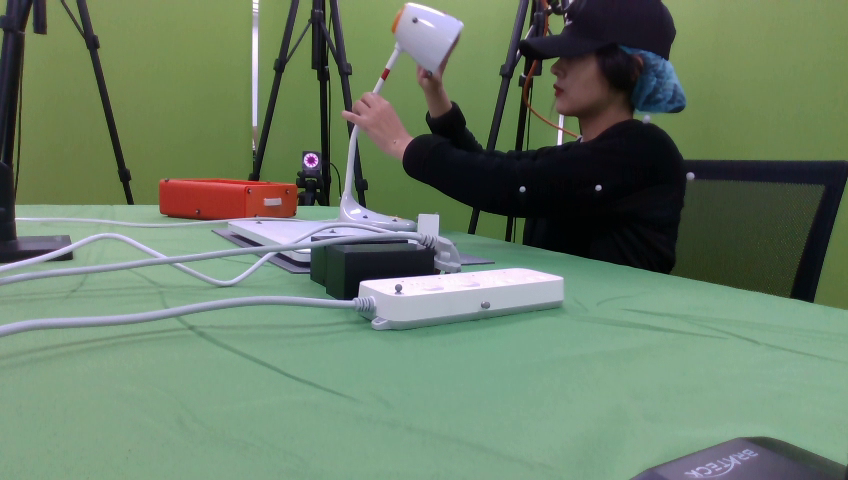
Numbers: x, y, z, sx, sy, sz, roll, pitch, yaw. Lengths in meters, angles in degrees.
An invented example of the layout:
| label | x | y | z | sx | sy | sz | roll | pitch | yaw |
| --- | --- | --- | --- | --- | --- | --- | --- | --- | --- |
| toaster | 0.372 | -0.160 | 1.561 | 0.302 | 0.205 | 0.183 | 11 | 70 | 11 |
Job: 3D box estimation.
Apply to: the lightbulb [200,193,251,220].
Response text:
| label | x | y | z | sx | sy | sz | roll | pitch | yaw |
| --- | --- | --- | --- | --- | --- | --- | --- | --- | --- |
| lightbulb | -0.433 | -0.079 | 1.319 | 0.108 | 0.059 | 0.059 | -17 | 13 | -16 |

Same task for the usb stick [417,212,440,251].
| label | x | y | z | sx | sy | sz | roll | pitch | yaw |
| --- | --- | --- | --- | --- | --- | --- | --- | --- | --- |
| usb stick | 0.005 | -0.003 | 0.722 | 0.027 | 0.059 | 0.021 | 0 | -3 | -3 |

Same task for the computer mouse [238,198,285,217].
| label | x | y | z | sx | sy | sz | roll | pitch | yaw |
| --- | --- | --- | --- | --- | --- | --- | --- | --- | --- |
| computer mouse | -0.354 | -0.072 | 1.326 | 0.063 | 0.041 | 0.117 | 3 | 3 | 11 |

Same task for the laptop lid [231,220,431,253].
| label | x | y | z | sx | sy | sz | roll | pitch | yaw |
| --- | --- | --- | --- | --- | --- | --- | --- | --- | --- |
| laptop lid | -0.142 | -0.009 | 0.942 | 0.243 | 0.013 | 0.355 | 1 | 7 | -31 |

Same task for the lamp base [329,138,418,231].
| label | x | y | z | sx | sy | sz | roll | pitch | yaw |
| --- | --- | --- | --- | --- | --- | --- | --- | --- | --- |
| lamp base | -0.100 | -0.112 | 1.211 | 0.180 | 0.180 | 0.160 | 0 | 7 | -13 |

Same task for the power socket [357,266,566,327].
| label | x | y | z | sx | sy | sz | roll | pitch | yaw |
| --- | --- | --- | --- | --- | --- | --- | --- | --- | --- |
| power socket | 0.042 | 0.049 | 0.573 | 0.228 | 0.032 | 0.072 | -3 | 8 | -34 |

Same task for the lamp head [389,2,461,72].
| label | x | y | z | sx | sy | sz | roll | pitch | yaw |
| --- | --- | --- | --- | --- | --- | --- | --- | --- | --- |
| lamp head | -0.007 | -0.396 | 1.161 | 0.123 | 0.112 | 0.112 | 23 | 6 | -6 |

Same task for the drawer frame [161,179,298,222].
| label | x | y | z | sx | sy | sz | roll | pitch | yaw |
| --- | --- | --- | --- | --- | --- | --- | --- | --- | --- |
| drawer frame | -0.419 | -0.089 | 1.328 | 0.213 | 0.082 | 0.202 | 4 | 8 | 18 |

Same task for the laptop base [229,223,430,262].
| label | x | y | z | sx | sy | sz | roll | pitch | yaw |
| --- | --- | --- | --- | --- | --- | --- | --- | --- | --- |
| laptop base | -0.145 | 0.002 | 0.943 | 0.237 | 0.023 | 0.352 | 2 | 6 | -32 |

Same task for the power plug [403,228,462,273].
| label | x | y | z | sx | sy | sz | roll | pitch | yaw |
| --- | --- | --- | --- | --- | --- | --- | --- | --- | --- |
| power plug | 0.006 | 0.016 | 0.647 | 0.073 | 0.052 | 0.035 | 17 | 12 | -6 |

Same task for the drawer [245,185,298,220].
| label | x | y | z | sx | sy | sz | roll | pitch | yaw |
| --- | --- | --- | --- | --- | --- | --- | --- | --- | --- |
| drawer | -0.416 | -0.087 | 1.329 | 0.211 | 0.073 | 0.195 | 4 | 8 | 18 |
